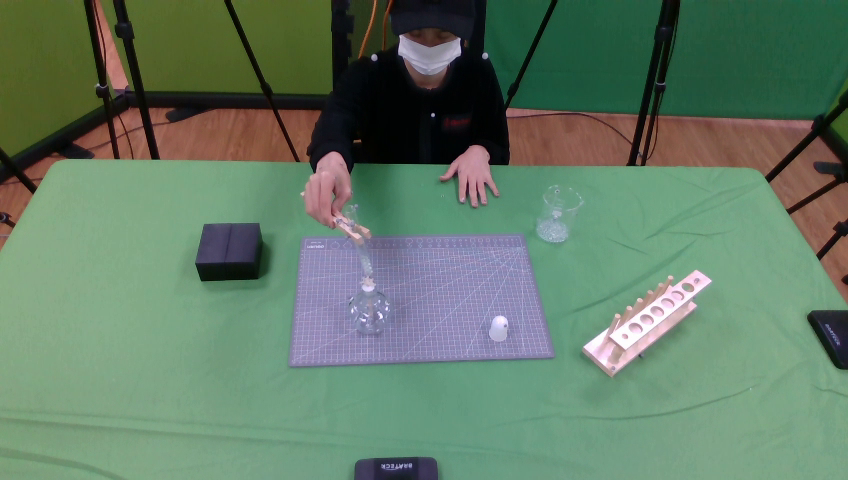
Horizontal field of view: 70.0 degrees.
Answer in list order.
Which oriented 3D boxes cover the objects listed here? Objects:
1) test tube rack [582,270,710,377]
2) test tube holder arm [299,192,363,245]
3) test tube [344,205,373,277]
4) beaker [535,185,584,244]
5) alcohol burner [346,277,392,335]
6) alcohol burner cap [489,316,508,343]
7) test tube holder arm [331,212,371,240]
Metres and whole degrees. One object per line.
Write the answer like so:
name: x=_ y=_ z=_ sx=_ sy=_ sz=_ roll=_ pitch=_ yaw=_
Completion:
test tube rack: x=0.389 y=0.132 z=1.057 sx=0.242 sy=0.085 sz=0.066 roll=-28 pitch=54 yaw=-28
test tube holder arm: x=-0.147 y=-0.036 z=0.939 sx=0.013 sy=0.015 sz=0.177 roll=-34 pitch=44 yaw=-25
test tube: x=-0.098 y=0.005 z=0.915 sx=0.017 sy=0.151 sz=0.017 roll=-5 pitch=47 yaw=5
beaker: x=0.268 y=-0.048 z=1.213 sx=0.084 sy=0.101 sz=0.073 roll=6 pitch=46 yaw=0
alcohol burner: x=-0.093 y=0.106 z=1.021 sx=0.078 sy=0.120 sz=0.077 roll=1 pitch=46 yaw=-1
alcohol burner cap: x=0.130 y=0.151 z=1.045 sx=0.034 sy=0.048 sz=0.033 roll=2 pitch=46 yaw=-2
test tube holder arm: x=-0.113 y=-0.022 z=0.913 sx=0.087 sy=0.015 sz=0.010 roll=24 pitch=51 yaw=36
